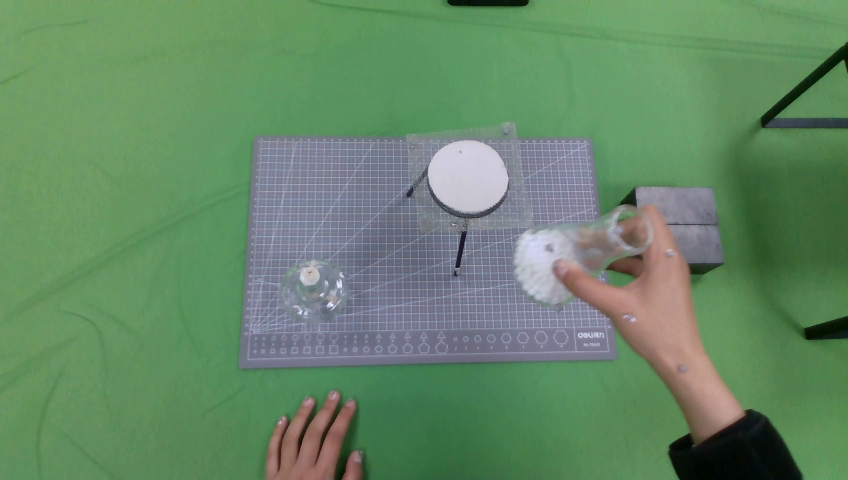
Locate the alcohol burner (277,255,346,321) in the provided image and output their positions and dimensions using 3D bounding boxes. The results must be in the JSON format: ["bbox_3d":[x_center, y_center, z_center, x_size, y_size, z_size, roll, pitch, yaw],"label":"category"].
[{"bbox_3d":[-0.127,0.049,0.678,0.078,0.119,0.077,2,71,-5],"label":"alcohol burner"}]

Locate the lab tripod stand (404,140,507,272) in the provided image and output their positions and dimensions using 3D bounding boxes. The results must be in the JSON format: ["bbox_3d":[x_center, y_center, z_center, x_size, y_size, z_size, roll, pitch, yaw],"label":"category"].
[{"bbox_3d":[0.044,-0.052,0.712,0.148,0.132,0.147,2,71,-4],"label":"lab tripod stand"}]

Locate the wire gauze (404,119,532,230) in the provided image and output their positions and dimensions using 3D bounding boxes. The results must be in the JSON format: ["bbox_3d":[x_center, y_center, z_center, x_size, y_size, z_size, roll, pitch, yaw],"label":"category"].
[{"bbox_3d":[0.046,-0.070,0.647,0.125,0.011,0.120,-5,73,-7],"label":"wire gauze"}]

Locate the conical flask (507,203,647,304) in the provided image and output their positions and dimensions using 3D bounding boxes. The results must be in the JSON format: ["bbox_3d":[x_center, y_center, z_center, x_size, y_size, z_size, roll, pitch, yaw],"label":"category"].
[{"bbox_3d":[0.126,0.006,0.492,0.076,0.122,0.075,6,72,-20],"label":"conical flask"}]
